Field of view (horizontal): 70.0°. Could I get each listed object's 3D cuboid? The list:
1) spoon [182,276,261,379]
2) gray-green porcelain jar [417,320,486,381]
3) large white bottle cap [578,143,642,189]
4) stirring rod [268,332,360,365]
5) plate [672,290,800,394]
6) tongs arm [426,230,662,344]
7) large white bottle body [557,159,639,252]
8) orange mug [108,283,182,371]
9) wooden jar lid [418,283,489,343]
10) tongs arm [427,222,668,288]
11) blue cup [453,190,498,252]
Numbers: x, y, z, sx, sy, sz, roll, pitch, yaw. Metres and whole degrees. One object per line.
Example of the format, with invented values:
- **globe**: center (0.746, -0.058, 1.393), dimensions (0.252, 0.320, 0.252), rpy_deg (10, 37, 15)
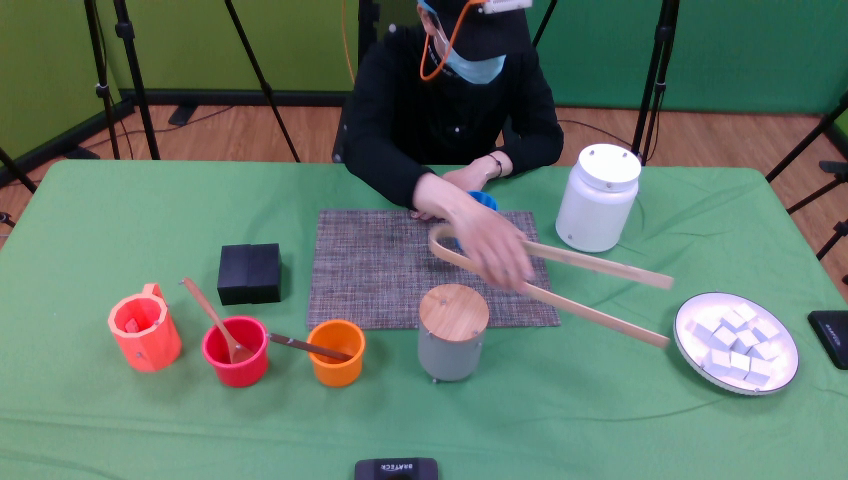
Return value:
- **spoon**: center (-0.320, 0.137, 0.957), dimensions (0.041, 0.021, 0.194), rpy_deg (-36, 102, -32)
- **gray-green porcelain jar**: center (0.042, 0.158, 0.975), dimensions (0.106, 0.127, 0.105), rpy_deg (2, 46, -2)
- **large white bottle cap**: center (0.344, -0.139, 1.123), dimensions (0.115, 0.018, 0.114), rpy_deg (2, 47, -2)
- **stirring rod**: center (-0.167, 0.170, 0.941), dimensions (0.177, 0.006, 0.014), rpy_deg (26, 26, -40)
- **plate**: center (0.533, 0.179, 1.050), dimensions (0.208, 0.039, 0.206), rpy_deg (2, 46, -2)
- **tongs arm**: center (0.166, 0.070, 0.922), dimensions (0.386, 0.028, 0.028), rpy_deg (23, 48, 19)
- **large white bottle body**: center (0.340, -0.081, 1.185), dimensions (0.131, 0.185, 0.130), rpy_deg (2, 46, -1)
- **orange mug**: center (-0.445, 0.134, 0.982), dimensions (0.083, 0.101, 0.125), rpy_deg (-1, 50, -5)
- **wooden jar lid**: center (0.045, 0.114, 0.931), dimensions (0.108, 0.021, 0.107), rpy_deg (2, 49, -2)
- **tongs arm**: center (0.193, 0.028, 0.974), dimensions (0.384, 0.026, 0.050), rpy_deg (16, 43, 11)
- **blue cup**: center (0.093, -0.032, 1.173), dimensions (0.093, 0.100, 0.092), rpy_deg (4, 46, -4)
